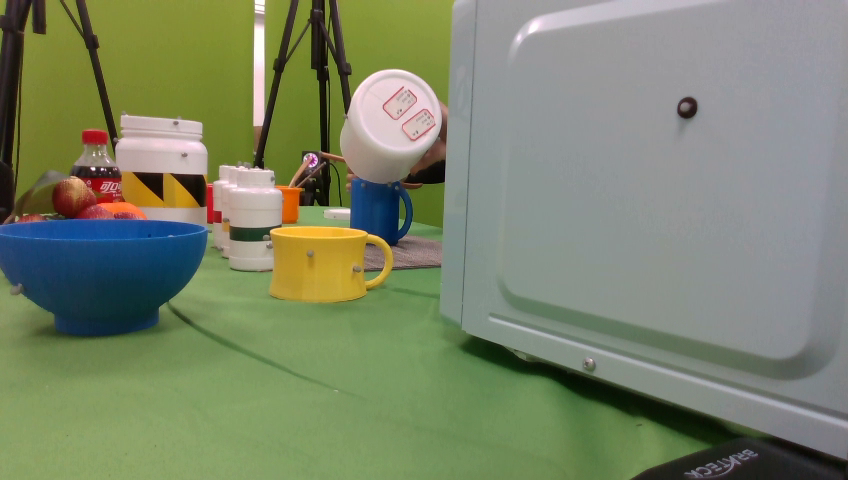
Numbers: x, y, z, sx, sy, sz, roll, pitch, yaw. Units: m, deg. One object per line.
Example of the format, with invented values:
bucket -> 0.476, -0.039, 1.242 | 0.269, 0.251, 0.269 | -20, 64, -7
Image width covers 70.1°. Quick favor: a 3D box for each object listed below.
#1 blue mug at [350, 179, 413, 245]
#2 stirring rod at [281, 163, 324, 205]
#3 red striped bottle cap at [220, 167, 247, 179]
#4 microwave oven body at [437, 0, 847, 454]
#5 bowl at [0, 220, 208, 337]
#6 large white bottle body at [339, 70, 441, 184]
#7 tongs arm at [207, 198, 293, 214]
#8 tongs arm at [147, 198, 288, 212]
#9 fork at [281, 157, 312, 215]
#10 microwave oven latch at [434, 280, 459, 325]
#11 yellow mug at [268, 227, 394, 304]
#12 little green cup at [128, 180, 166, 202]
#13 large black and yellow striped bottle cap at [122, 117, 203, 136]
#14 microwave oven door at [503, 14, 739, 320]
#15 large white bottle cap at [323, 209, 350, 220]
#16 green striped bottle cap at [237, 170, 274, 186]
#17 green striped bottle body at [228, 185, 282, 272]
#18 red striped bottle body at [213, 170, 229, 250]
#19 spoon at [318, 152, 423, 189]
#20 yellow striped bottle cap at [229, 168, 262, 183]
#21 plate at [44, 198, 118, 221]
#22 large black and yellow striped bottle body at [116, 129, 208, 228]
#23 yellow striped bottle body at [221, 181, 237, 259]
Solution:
blue mug -> -0.068, -0.047, 1.001 | 0.116, 0.106, 0.083 | 6, 9, 29
stirring rod -> -0.278, -0.105, 1.293 | 0.176, 0.006, 0.014 | -47, 25, -18
red striped bottle cap -> -0.281, -0.099, 0.901 | 0.044, 0.017, 0.044 | -1, 5, 0
microwave oven body -> 0.279, -0.040, 0.464 | 0.444, 0.260, 0.324 | -3, 9, -41
bowl -> -0.251, 0.029, 0.479 | 0.151, 0.077, 0.151 | 2, 7, 0
large white bottle body -> -0.058, -0.160, 0.914 | 0.131, 0.130, 0.184 | 1, -10, -14
tongs arm -> -0.423, -0.084, 1.472 | 0.050, 0.026, 0.386 | 1, 6, 22
tongs arm -> -0.503, -0.089, 1.513 | 0.028, 0.028, 0.389 | -2, 3, 38
fork -> -0.290, -0.116, 1.321 | 0.028, 0.019, 0.207 | 6, 51, 18
microwave oven latch -> 0.044, 0.045, 0.470 | 0.079, 0.029, 0.030 | -2, 8, -39
yellow mug -> -0.094, 0.023, 0.629 | 0.131, 0.064, 0.099 | 0, 8, -22
little green cup -> -0.485, -0.087, 1.062 | 0.061, 0.038, 0.061 | -1, 6, 0
large black and yellow striped bottle cap -> -0.399, -0.174, 0.927 | 0.115, 0.019, 0.115 | 5, 9, -1
microwave oven door -> 0.218, -0.065, 0.600 | 0.358, 0.243, 0.039 | -4, 10, -41
large white bottle cap -> -0.184, -0.062, 1.450 | 0.115, 0.018, 0.115 | 2, 8, 0
green striped bottle cap -> -0.205, -0.075, 0.737 | 0.044, 0.020, 0.044 | 1, 6, 0
green striped bottle body -> -0.208, -0.024, 0.745 | 0.063, 0.119, 0.063 | 2, 7, 0
red striped bottle body -> -0.283, -0.047, 0.909 | 0.063, 0.119, 0.063 | 2, 13, 0
spoon -> -0.096, -0.126, 1.085 | 0.194, 0.021, 0.041 | 21, 7, -6
yellow striped bottle cap -> -0.240, -0.087, 0.816 | 0.044, 0.018, 0.044 | -3, 5, 1
plate -> -0.617, -0.056, 1.179 | 0.209, 0.038, 0.209 | 3, 7, 0
large black and yellow striped bottle body -> -0.404, -0.089, 0.937 | 0.131, 0.184, 0.130 | 3, 7, 0
yellow striped bottle body -> -0.244, -0.035, 0.823 | 0.063, 0.120, 0.063 | 3, 8, 0
